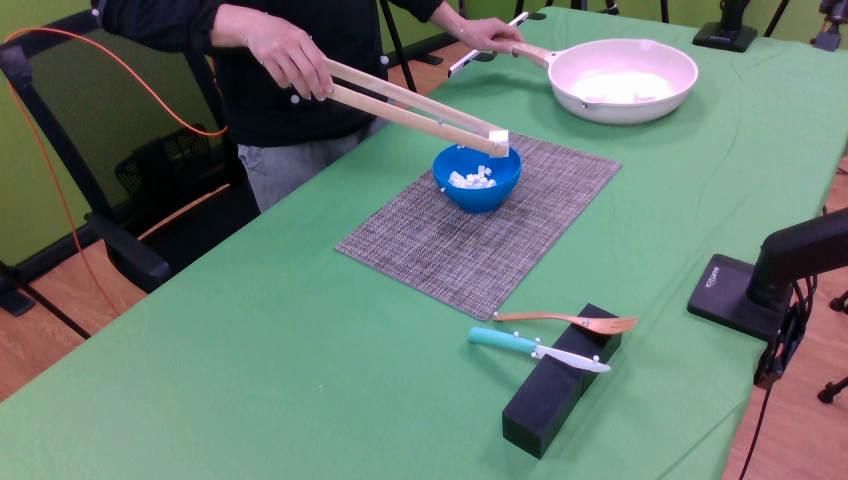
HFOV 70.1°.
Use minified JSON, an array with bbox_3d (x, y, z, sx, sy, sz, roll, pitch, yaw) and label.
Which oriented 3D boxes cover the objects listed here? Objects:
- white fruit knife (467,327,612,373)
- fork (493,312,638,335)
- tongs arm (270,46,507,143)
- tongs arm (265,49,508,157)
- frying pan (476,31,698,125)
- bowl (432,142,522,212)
[{"bbox_3d":[0.134,0.134,0.742,0.205,0.027,0.016,7,34,41],"label":"white fruit knife"},{"bbox_3d":[0.173,0.103,0.774,0.206,0.019,0.028,0,41,40],"label":"fork"},{"bbox_3d":[-0.049,-0.223,0.943,0.389,0.028,0.028,18,48,-12],"label":"tongs arm"},{"bbox_3d":[-0.052,-0.206,0.926,0.387,0.026,0.050,15,45,-14],"label":"tongs arm"},{"bbox_3d":[0.321,-0.371,1.290,0.484,0.103,0.307,29,51,24],"label":"frying pan"},{"bbox_3d":[0.091,-0.100,1.021,0.151,0.077,0.150,-4,41,4],"label":"bowl"}]
